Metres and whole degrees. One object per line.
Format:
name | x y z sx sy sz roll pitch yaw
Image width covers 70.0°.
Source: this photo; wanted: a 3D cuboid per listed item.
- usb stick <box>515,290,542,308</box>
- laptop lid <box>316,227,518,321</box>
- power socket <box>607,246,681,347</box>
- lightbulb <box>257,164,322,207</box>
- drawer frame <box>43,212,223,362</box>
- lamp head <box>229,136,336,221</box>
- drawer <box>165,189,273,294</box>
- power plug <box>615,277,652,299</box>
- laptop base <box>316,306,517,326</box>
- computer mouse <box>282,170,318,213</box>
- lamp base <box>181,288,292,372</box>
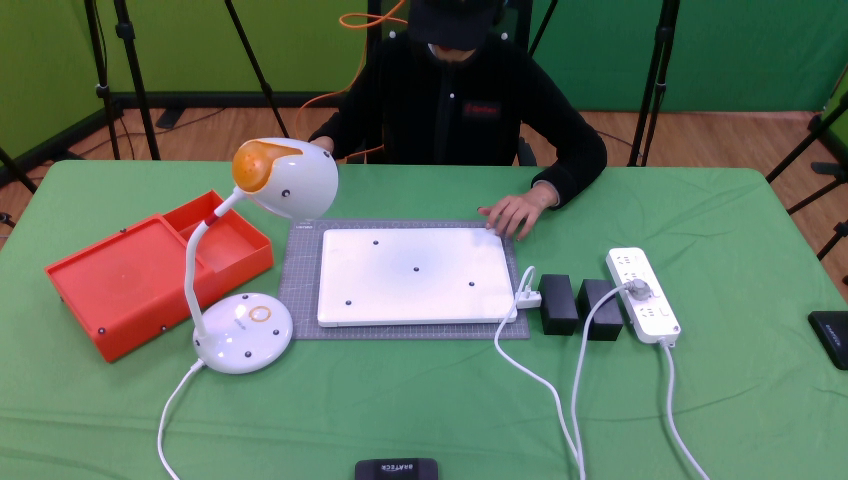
usb stick | 0.181 0.107 1.089 0.059 0.027 0.021 -6 47 -4
laptop lid | -0.016 0.057 1.126 0.357 0.013 0.240 0 44 -4
power socket | 0.403 0.096 1.123 0.072 0.033 0.225 -3 47 -5
lightbulb | -0.181 -0.077 0.810 0.059 0.059 0.108 36 11 27
drawer frame | -0.497 0.073 1.049 0.213 0.083 0.200 -34 57 -31
lamp head | -0.196 -0.085 0.791 0.112 0.112 0.123 36 14 27
drawer | -0.419 0.022 1.108 0.193 0.073 0.211 37 55 27
power plug | 0.375 0.088 1.097 0.072 0.053 0.035 6 46 2
laptop base | -0.017 0.066 1.133 0.355 0.023 0.234 -1 42 -5
computer mouse | -0.259 -0.106 1.273 0.063 0.041 0.116 3 49 -3
lamp base | -0.309 0.108 0.959 0.160 0.181 0.179 29 55 22
